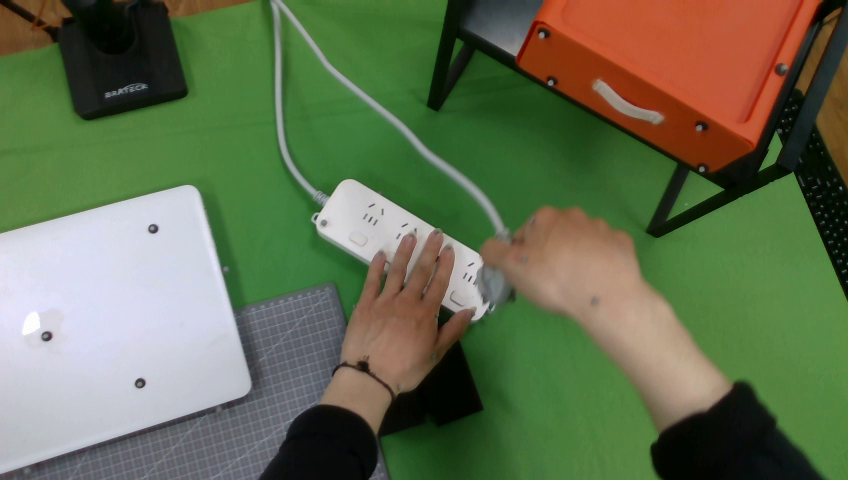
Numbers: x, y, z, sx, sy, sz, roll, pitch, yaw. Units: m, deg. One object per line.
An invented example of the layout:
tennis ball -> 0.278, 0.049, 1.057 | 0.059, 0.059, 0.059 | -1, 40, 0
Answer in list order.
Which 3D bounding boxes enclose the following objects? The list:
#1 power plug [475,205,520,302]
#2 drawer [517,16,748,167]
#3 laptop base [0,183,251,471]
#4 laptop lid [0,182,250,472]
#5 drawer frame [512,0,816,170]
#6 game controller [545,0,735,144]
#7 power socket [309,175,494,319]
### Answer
power plug -> 0.064, 0.016, 0.496 | 0.035, 0.053, 0.072 | 21, 60, -6
drawer -> 0.215, -0.201, 0.524 | 0.194, 0.073, 0.211 | 30, 77, 1
laptop base -> -0.379, 0.094, 0.619 | 0.355, 0.023, 0.235 | -17, 84, -9
laptop lid -> -0.377, 0.094, 0.607 | 0.357, 0.013, 0.241 | -15, 82, -9
drawer frame -> 0.215, -0.204, 0.524 | 0.201, 0.083, 0.213 | 29, 77, 0
game controller -> 0.194, -0.162, 0.529 | 0.155, 0.052, 0.097 | 33, 81, 4
power socket -> -0.018, 0.008, 0.667 | 0.226, 0.032, 0.072 | 31, 77, 1
